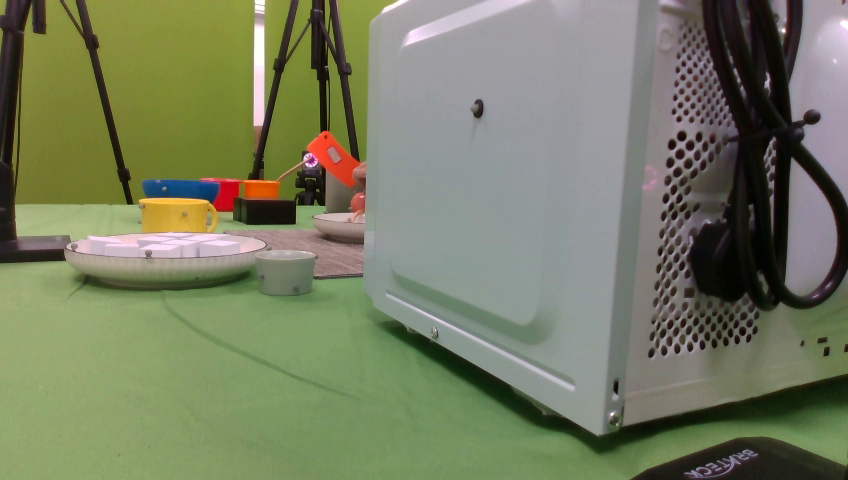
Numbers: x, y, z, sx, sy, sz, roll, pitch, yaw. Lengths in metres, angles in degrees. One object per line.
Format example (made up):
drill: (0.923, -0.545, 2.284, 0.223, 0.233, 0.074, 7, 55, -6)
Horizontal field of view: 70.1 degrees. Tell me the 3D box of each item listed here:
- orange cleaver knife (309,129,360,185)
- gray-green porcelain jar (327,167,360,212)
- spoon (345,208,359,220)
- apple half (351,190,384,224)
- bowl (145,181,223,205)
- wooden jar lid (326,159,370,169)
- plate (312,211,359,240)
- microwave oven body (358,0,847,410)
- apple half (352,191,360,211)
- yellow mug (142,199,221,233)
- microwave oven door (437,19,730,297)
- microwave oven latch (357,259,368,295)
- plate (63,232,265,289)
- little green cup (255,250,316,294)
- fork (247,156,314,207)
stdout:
orange cleaver knife: (-0.156, -0.160, 1.317, 0.212, 0.077, 0.012, 36, -25, -27)
gray-green porcelain jar: (-0.187, -0.125, 1.490, 0.106, 0.126, 0.106, 2, 8, 0)
spoon: (-0.124, -0.047, 1.117, 0.041, 0.021, 0.194, -8, 17, 18)
apple half: (-0.127, -0.072, 1.296, 0.082, 0.081, 0.032, -3, 13, -33)
bowl: (-0.499, -0.081, 1.261, 0.151, 0.077, 0.151, 2, 8, 0)
wooden jar lid: (-0.185, -0.187, 1.481, 0.108, 0.020, 0.108, 4, 6, 0)
plate: (-0.091, -0.026, 1.063, 0.209, 0.038, 0.209, 2, 7, 0)
microwave oven body: (0.210, -0.051, 0.471, 0.444, 0.260, 0.324, -1, 7, -28)
apple half: (-0.105, -0.067, 1.264, 0.081, 0.074, 0.053, 0, 9, -34)
yellow mug: (-0.373, -0.030, 0.948, 0.099, 0.064, 0.131, 6, 7, 30)
microwave oven door: (0.180, -0.076, 0.618, 0.358, 0.243, 0.039, -2, 9, -28)
microwave oven latch: (-0.019, 0.031, 0.529, 0.079, 0.029, 0.030, -1, 7, -26)
plate: (-0.288, 0.021, 0.687, 0.208, 0.039, 0.207, 2, 7, 0)
little green cup: (-0.144, 0.032, 0.627, 0.061, 0.038, 0.061, 3, 6, 0)
fork: (-0.360, -0.147, 1.523, 0.207, 0.018, 0.028, -43, 15, -7)
